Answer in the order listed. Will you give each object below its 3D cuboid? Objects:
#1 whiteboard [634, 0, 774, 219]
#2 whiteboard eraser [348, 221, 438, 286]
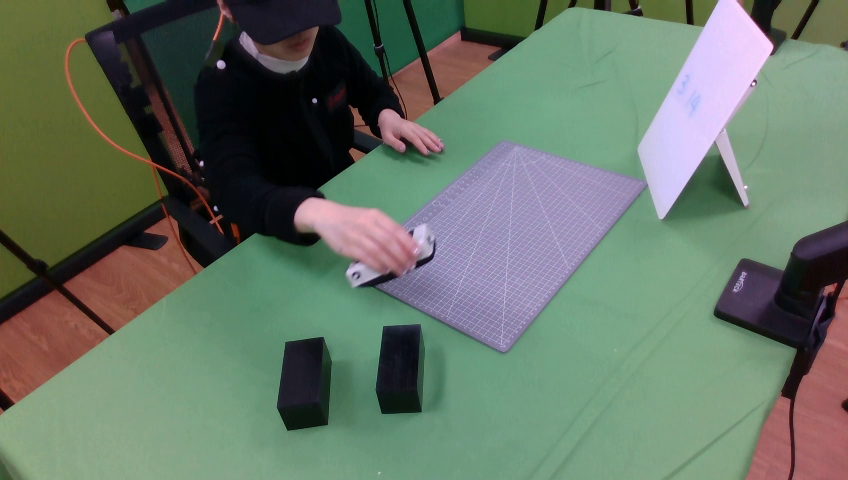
[{"bbox_3d":[0.485,-0.192,0.957,0.144,0.305,0.216,14,41,-4],"label":"whiteboard"},{"bbox_3d":[-0.037,0.021,0.754,0.112,0.042,0.055,-23,27,14],"label":"whiteboard eraser"}]
